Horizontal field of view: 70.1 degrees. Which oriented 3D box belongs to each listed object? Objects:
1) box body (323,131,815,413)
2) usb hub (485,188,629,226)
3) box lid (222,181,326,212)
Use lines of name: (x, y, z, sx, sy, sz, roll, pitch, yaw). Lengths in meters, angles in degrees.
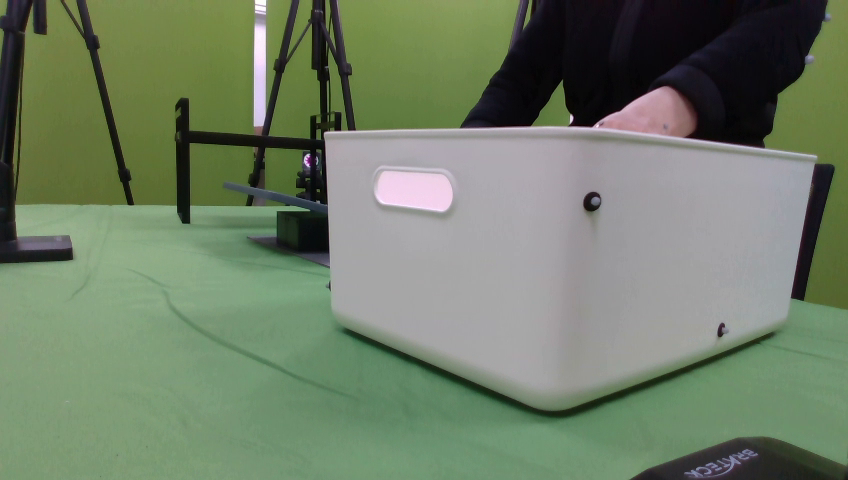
box body: (0.125, -0.001, 0.510, 0.366, 0.160, 0.253, -4, 10, -41)
usb hub: (0.116, -0.030, 0.519, 0.126, 0.025, 0.049, -4, 11, -32)
box lid: (-0.118, -0.039, 0.994, 0.374, 0.015, 0.262, 13, 1, -35)
